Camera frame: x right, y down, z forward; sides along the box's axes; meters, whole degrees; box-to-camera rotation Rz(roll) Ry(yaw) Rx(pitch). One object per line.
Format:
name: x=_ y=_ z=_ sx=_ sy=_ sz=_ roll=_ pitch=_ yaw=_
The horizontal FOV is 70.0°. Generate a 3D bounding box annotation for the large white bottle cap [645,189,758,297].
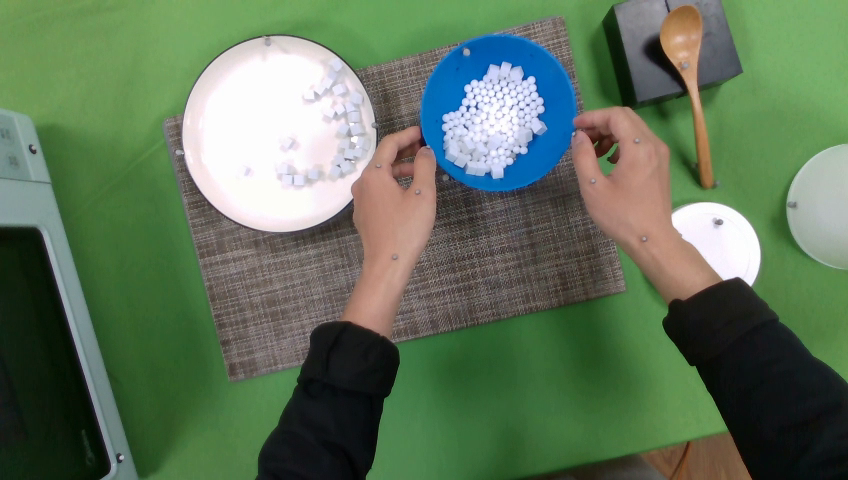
large white bottle cap: x=0.294 y=0.004 z=0.643 sx=0.115 sy=0.018 sz=0.115 roll=0 pitch=93 yaw=2

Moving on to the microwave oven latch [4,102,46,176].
microwave oven latch: x=-0.435 y=-0.106 z=0.648 sx=0.030 sy=0.029 sz=0.079 roll=-16 pitch=93 yaw=3

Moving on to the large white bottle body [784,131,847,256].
large white bottle body: x=0.437 y=-0.046 z=0.549 sx=0.130 sy=0.184 sz=0.130 roll=0 pitch=92 yaw=3

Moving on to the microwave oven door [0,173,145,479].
microwave oven door: x=-0.383 y=0.109 z=0.555 sx=0.039 sy=0.244 sz=0.356 roll=-17 pitch=92 yaw=4

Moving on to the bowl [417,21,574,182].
bowl: x=0.070 y=-0.132 z=0.614 sx=0.151 sy=0.077 sz=0.151 roll=0 pitch=93 yaw=4

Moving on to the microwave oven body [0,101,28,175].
microwave oven body: x=-0.535 y=0.109 z=0.568 sx=0.326 sy=0.260 sz=0.442 roll=-16 pitch=92 yaw=3

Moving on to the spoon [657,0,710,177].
spoon: x=0.265 y=-0.147 z=0.600 sx=0.041 sy=0.021 sz=0.195 roll=-21 pitch=114 yaw=2

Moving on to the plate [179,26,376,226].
plate: x=-0.152 y=-0.118 z=0.646 sx=0.209 sy=0.038 sz=0.209 roll=0 pitch=93 yaw=3
